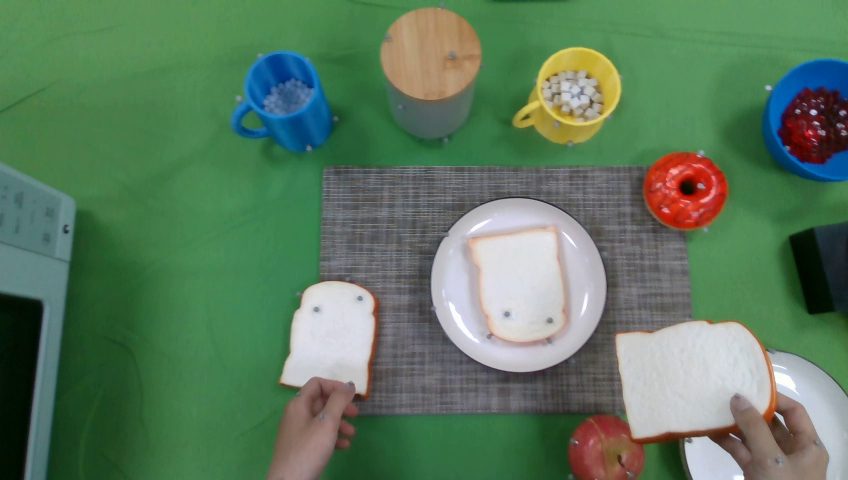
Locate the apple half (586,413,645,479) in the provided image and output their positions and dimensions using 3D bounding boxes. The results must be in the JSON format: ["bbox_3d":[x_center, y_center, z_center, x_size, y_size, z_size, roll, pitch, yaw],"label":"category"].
[{"bbox_3d":[0.213,0.231,0.670,0.053,0.075,0.080,-9,77,-6],"label":"apple half"}]

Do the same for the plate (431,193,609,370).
[{"bbox_3d":[0.111,0.049,0.717,0.208,0.039,0.206,0,79,0],"label":"plate"}]

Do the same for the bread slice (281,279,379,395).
[{"bbox_3d":[-0.108,0.111,0.715,0.105,0.019,0.131,7,81,1],"label":"bread slice"}]

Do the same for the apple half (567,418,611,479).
[{"bbox_3d":[0.174,0.238,0.667,0.033,0.081,0.081,-7,79,-6],"label":"apple half"}]

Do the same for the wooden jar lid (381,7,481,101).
[{"bbox_3d":[0.007,-0.200,0.658,0.108,0.021,0.108,0,78,0],"label":"wooden jar lid"}]

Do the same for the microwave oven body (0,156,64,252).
[{"bbox_3d":[-0.580,0.130,0.584,0.326,0.261,0.440,0,80,-1],"label":"microwave oven body"}]

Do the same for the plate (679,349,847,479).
[{"bbox_3d":[0.391,0.229,0.689,0.209,0.038,0.208,0,79,0],"label":"plate"}]

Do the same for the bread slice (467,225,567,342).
[{"bbox_3d":[0.117,0.053,0.717,0.107,0.018,0.133,-11,79,-2],"label":"bread slice"}]

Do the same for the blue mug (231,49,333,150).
[{"bbox_3d":[-0.172,-0.157,0.723,0.116,0.106,0.082,-26,80,-5],"label":"blue mug"}]

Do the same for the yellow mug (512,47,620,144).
[{"bbox_3d":[0.169,-0.171,0.748,0.131,0.064,0.099,-24,80,-4],"label":"yellow mug"}]

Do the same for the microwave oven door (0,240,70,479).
[{"bbox_3d":[-0.436,0.172,0.572,0.039,0.244,0.354,0,79,0],"label":"microwave oven door"}]

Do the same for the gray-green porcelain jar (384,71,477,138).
[{"bbox_3d":[0.008,-0.187,0.719,0.106,0.127,0.105,0,79,0],"label":"gray-green porcelain jar"}]

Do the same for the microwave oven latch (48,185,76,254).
[{"bbox_3d":[-0.432,-0.024,0.711,0.030,0.029,0.079,4,80,0],"label":"microwave oven latch"}]

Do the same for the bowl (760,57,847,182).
[{"bbox_3d":[0.473,-0.134,0.736,0.151,0.077,0.151,0,80,0],"label":"bowl"}]

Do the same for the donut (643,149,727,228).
[{"bbox_3d":[0.315,-0.062,0.736,0.099,0.048,0.098,0,80,0],"label":"donut"}]
